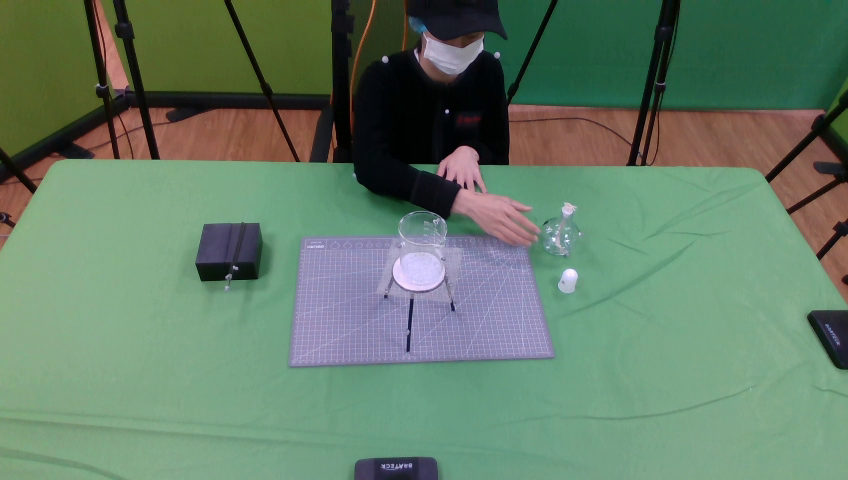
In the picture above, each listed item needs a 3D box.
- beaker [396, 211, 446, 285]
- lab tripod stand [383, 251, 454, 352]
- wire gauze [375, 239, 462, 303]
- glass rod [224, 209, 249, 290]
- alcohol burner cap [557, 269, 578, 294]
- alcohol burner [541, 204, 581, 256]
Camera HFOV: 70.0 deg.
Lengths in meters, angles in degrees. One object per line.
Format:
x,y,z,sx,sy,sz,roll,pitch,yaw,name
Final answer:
-0.002,0.017,0.941,0.083,0.101,0.074,36,54,28,beaker
-0.015,0.094,1.025,0.148,0.132,0.147,1,46,-1,lab tripod stand
-0.006,0.049,0.978,0.121,0.011,0.124,10,44,5,wire gauze
-0.340,0.013,1.102,0.008,0.008,0.198,2,45,-3,glass rod
0.270,0.074,1.135,0.034,0.048,0.033,3,46,-2,alcohol burner cap
0.271,-0.026,1.182,0.078,0.119,0.077,4,46,-3,alcohol burner
